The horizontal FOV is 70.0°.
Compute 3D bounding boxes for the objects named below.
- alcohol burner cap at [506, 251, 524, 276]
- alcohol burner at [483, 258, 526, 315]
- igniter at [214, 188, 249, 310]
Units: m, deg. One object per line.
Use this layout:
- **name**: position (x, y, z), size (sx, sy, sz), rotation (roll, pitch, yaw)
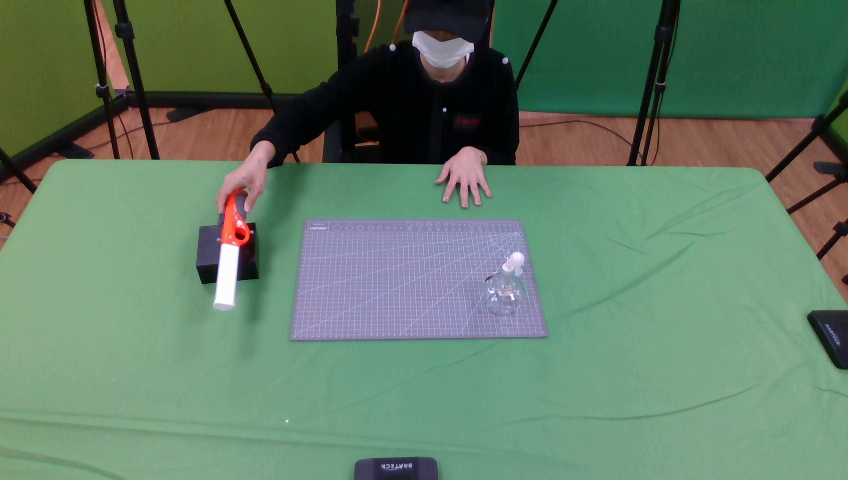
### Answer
- **alcohol burner cap**: position (0.175, 0.043, 1.151), size (0.034, 0.048, 0.033), rotation (2, 46, -1)
- **alcohol burner**: position (0.143, 0.076, 1.067), size (0.078, 0.120, 0.077), rotation (1, 45, -1)
- **igniter**: position (-0.340, 0.006, 1.068), size (0.057, 0.025, 0.274), rotation (16, 43, -26)
